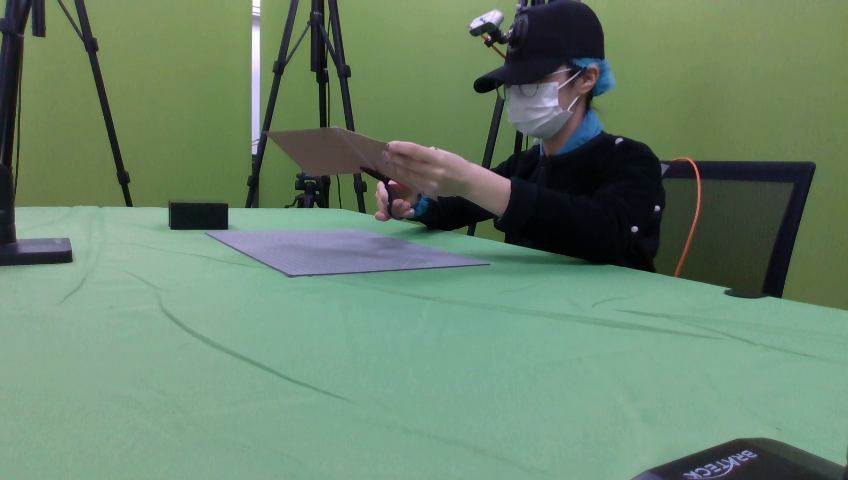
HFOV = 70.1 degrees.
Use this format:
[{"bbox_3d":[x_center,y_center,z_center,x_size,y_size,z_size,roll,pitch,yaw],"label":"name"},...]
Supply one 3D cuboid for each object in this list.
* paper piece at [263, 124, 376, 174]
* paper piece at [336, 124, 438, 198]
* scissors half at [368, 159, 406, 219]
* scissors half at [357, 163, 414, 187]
[{"bbox_3d":[-0.165,-0.144,0.971,0.135,0.004,0.136,-1,-25,24],"label":"paper piece"},{"bbox_3d":[-0.053,-0.118,0.909,0.137,0.008,0.136,27,-8,32],"label":"paper piece"},{"bbox_3d":[-0.069,-0.094,1.029,0.012,0.040,0.176,16,-30,32],"label":"scissors half"},{"bbox_3d":[-0.060,-0.116,1.034,0.013,0.040,0.176,11,5,32],"label":"scissors half"}]
